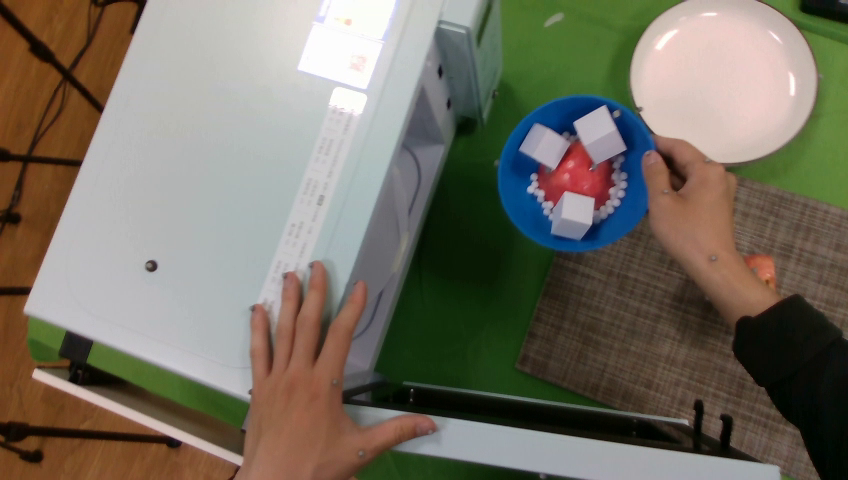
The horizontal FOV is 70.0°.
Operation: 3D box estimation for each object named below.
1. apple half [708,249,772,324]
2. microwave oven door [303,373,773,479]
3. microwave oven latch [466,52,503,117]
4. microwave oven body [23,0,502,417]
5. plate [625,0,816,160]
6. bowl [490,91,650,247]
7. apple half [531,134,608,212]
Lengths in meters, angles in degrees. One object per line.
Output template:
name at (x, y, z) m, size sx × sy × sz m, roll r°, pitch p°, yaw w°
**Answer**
apple half at (0.337, 0.050, 0.656) m, size 0.053 × 0.075 × 0.080 m, roll 0°, pitch 85°, yaw 12°
microwave oven door at (0.094, 0.172, 0.571) m, size 0.355 × 0.245 × 0.039 m, roll 5°, pitch 82°, yaw 9°
microwave oven latch at (0.072, -0.191, 0.729) m, size 0.030 × 0.029 × 0.079 m, roll 18°, pitch 85°, yaw 10°
microwave oven body at (-0.139, -0.086, 0.644) m, size 0.325 × 0.261 × 0.441 m, roll 18°, pitch 85°, yaw 9°
plate at (0.341, -0.191, 0.712) m, size 0.207 × 0.039 × 0.207 m, roll -1°, pitch 82°, yaw 7°
bowl at (0.147, -0.067, 0.615) m, size 0.151 × 0.077 × 0.151 m, roll 0°, pitch 90°, yaw 15°
apple half at (0.149, -0.068, 0.611) m, size 0.081 × 0.033 × 0.081 m, roll 1°, pitch 93°, yaw 14°
